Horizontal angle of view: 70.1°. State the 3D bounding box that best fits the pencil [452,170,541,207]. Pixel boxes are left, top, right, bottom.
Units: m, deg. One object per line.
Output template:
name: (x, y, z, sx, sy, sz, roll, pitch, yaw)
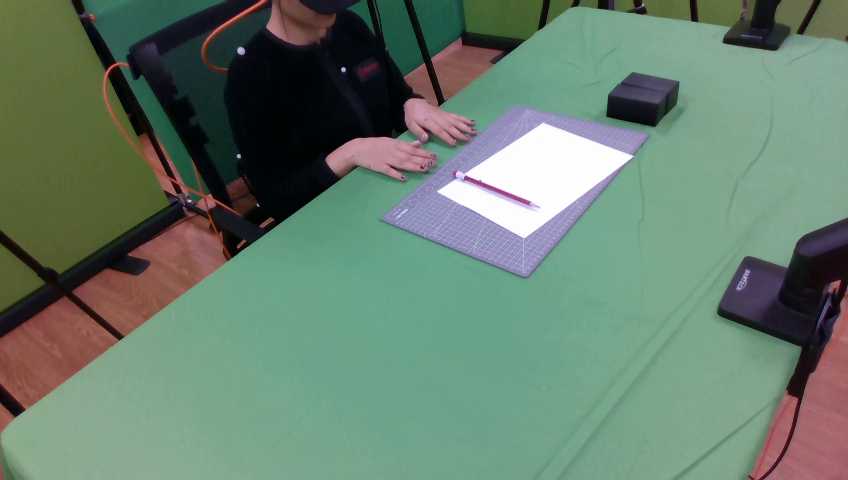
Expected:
pencil: (0.125, -0.091, 1.069, 0.192, 0.012, 0.012, 26, 52, 35)
